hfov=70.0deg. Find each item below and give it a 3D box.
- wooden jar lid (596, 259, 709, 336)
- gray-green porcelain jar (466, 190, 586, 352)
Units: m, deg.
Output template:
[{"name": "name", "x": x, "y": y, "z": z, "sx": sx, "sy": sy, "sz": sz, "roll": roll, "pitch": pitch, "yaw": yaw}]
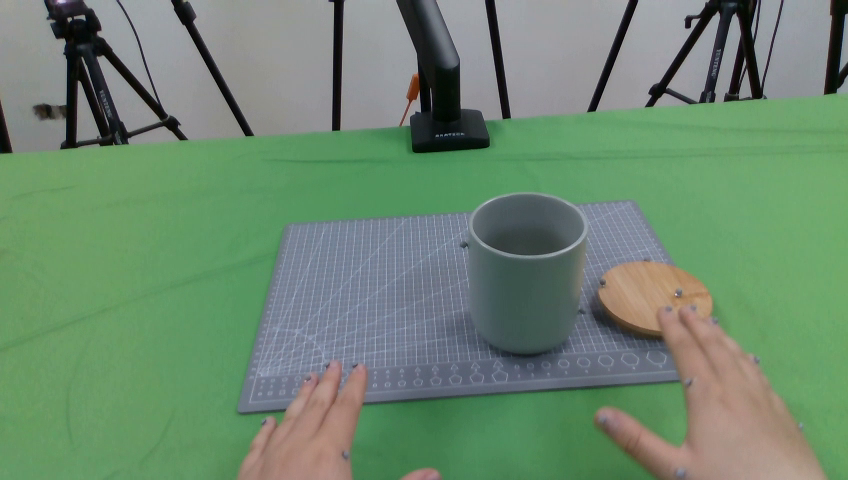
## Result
[{"name": "wooden jar lid", "x": 0.229, "y": 0.059, "z": 0.613, "sx": 0.108, "sy": 0.021, "sz": 0.107, "roll": -3, "pitch": 35, "yaw": 2}, {"name": "gray-green porcelain jar", "x": 0.093, "y": 0.033, "z": 0.568, "sx": 0.106, "sy": 0.127, "sz": 0.105, "roll": -2, "pitch": 36, "yaw": 2}]
